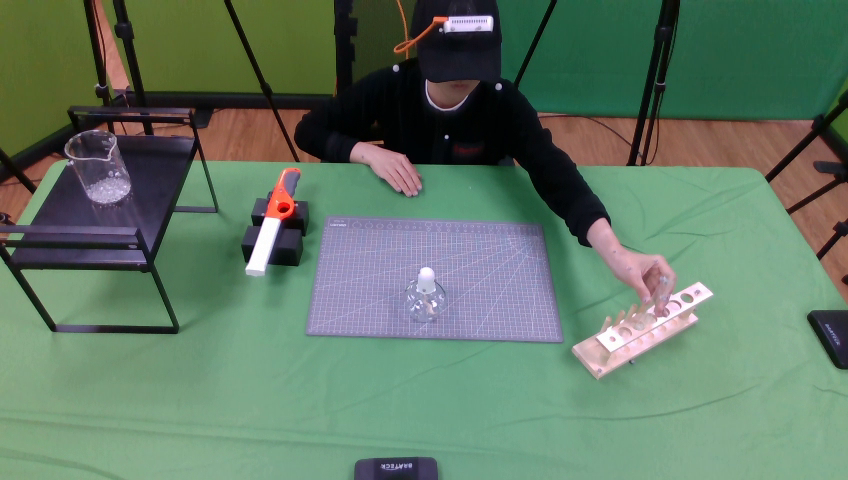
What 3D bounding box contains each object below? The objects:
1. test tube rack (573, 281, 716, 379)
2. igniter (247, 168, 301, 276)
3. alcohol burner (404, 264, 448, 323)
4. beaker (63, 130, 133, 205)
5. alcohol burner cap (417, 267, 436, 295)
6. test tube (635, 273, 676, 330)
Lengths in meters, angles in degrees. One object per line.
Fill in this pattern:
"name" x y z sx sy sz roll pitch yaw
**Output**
"test tube rack" 0.378 0.140 1.038 0.242 0.085 0.066 -22 51 -23
"igniter" -0.282 -0.043 1.149 0.057 0.025 0.275 8 48 -1
"alcohol burner" 0.003 0.087 1.042 0.078 0.120 0.077 1 45 0
"beaker" -0.511 -0.112 0.964 0.083 0.101 0.074 31 52 23
"alcohol burner cap" 0.004 0.066 1.019 0.034 0.048 0.033 0 47 1
"test tube" 0.357 0.106 0.946 0.017 0.151 0.017 4 45 -4
